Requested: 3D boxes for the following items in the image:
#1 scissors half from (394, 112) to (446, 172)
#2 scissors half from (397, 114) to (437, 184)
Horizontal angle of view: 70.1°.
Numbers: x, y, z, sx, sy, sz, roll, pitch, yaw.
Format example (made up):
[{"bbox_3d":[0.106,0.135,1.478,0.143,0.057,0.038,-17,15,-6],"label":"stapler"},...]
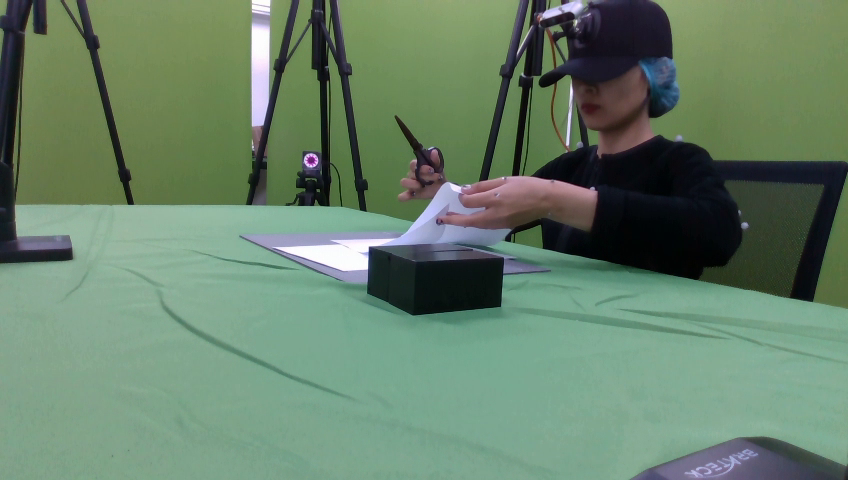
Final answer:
[{"bbox_3d":[-0.006,-0.181,1.114,0.013,0.040,0.176,21,-12,41],"label":"scissors half"},{"bbox_3d":[-0.019,-0.166,1.110,0.040,0.176,0.012,-45,45,-17],"label":"scissors half"}]
